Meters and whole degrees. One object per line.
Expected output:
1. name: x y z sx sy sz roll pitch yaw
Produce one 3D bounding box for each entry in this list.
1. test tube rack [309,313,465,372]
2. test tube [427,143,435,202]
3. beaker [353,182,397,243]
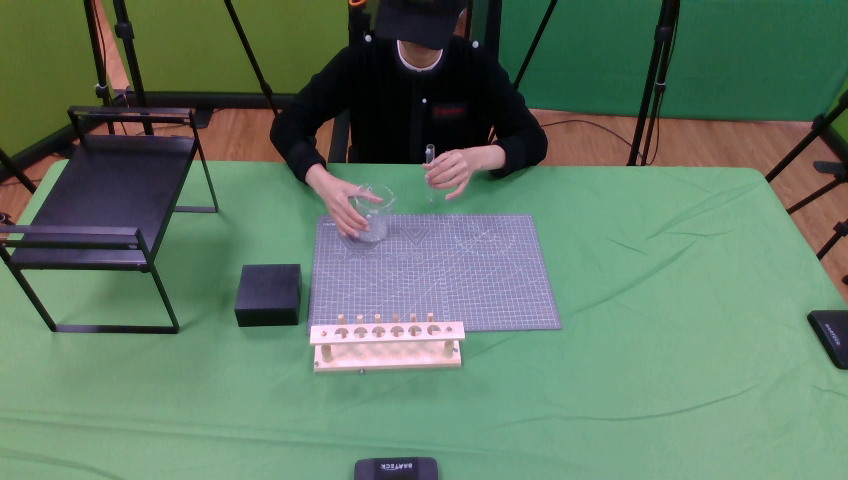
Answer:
1. test tube rack: -0.059 0.161 0.990 0.242 0.085 0.066 -1 46 -5
2. test tube: 0.014 -0.129 1.193 0.017 0.151 0.017 0 50 1
3. beaker: -0.098 -0.051 1.175 0.084 0.101 0.073 -1 47 -11
